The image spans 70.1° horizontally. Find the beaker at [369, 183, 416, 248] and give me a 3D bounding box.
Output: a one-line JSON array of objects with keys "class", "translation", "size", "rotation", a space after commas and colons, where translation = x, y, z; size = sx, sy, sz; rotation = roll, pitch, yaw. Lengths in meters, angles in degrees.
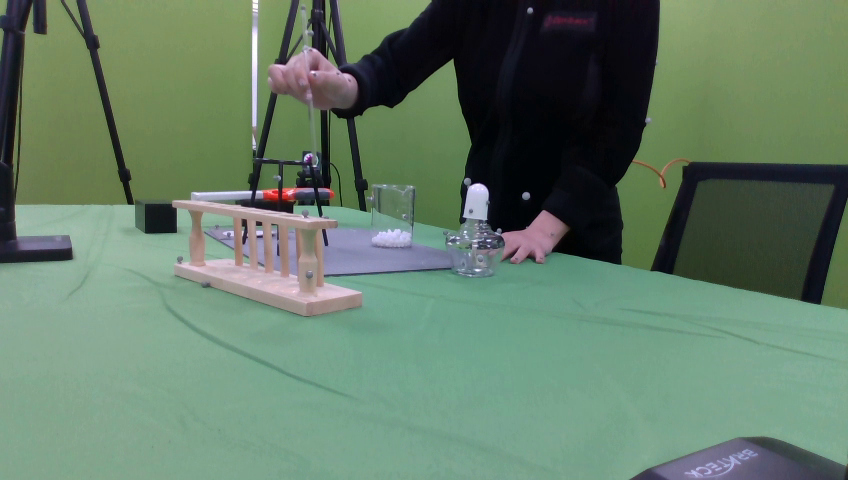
[{"class": "beaker", "translation": [-0.050, -0.039, 0.971], "size": [0.074, 0.100, 0.083], "rotation": [-1, 9, -25]}]

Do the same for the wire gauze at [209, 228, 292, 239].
[{"class": "wire gauze", "translation": [-0.298, -0.013, 1.039], "size": [0.122, 0.011, 0.124], "rotation": [-2, 6, -27]}]

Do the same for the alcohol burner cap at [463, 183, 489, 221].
[{"class": "alcohol burner cap", "translation": [0.067, -0.048, 0.765], "size": [0.034, 0.048, 0.034], "rotation": [5, 5, 0]}]

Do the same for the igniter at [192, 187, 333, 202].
[{"class": "igniter", "translation": [-0.316, -0.090, 1.213], "size": [0.278, 0.025, 0.057], "rotation": [-5, 12, -31]}]

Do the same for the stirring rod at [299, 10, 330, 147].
[{"class": "stirring rod", "translation": [-0.140, -0.206, 0.774], "size": [0.006, 0.176, 0.014], "rotation": [-12, 2, -31]}]

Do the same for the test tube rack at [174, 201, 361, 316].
[{"class": "test tube rack", "translation": [-0.169, 0.010, 0.622], "size": [0.241, 0.085, 0.067], "rotation": [9, 9, 41]}]

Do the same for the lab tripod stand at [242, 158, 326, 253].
[{"class": "lab tripod stand", "translation": [-0.207, -0.054, 0.895], "size": [0.148, 0.131, 0.148], "rotation": [3, 5, 0]}]

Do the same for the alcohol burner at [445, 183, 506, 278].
[{"class": "alcohol burner", "translation": [0.066, -0.013, 0.770], "size": [0.078, 0.119, 0.078], "rotation": [0, 7, 0]}]
